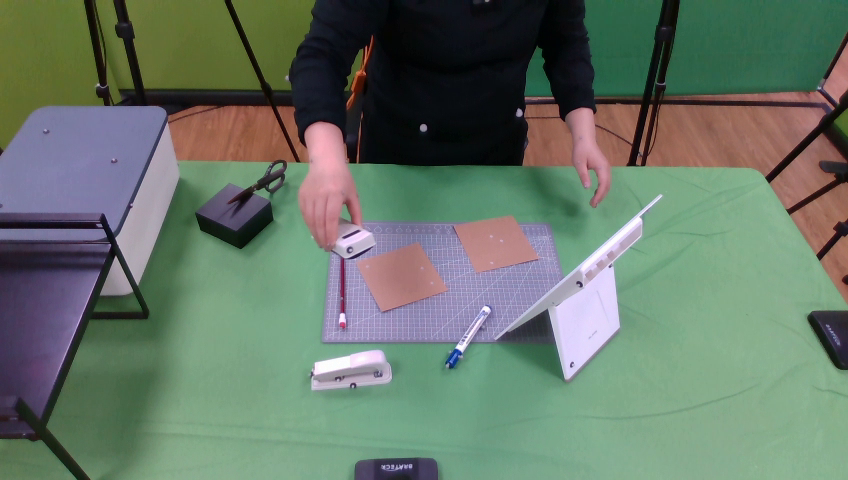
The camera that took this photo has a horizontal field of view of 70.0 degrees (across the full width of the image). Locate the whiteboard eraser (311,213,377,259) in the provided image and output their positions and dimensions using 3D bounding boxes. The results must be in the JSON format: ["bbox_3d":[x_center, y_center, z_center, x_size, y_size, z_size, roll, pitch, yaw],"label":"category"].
[{"bbox_3d":[-0.124,-0.005,0.928,0.055,0.042,0.112,-24,30,-31],"label":"whiteboard eraser"}]

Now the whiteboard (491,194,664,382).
[{"bbox_3d":[0.280,0.100,0.969,0.217,0.306,0.143,-33,77,-31],"label":"whiteboard"}]

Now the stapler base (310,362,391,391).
[{"bbox_3d":[-0.119,0.215,0.980,0.131,0.024,0.041,-5,44,-7],"label":"stapler base"}]

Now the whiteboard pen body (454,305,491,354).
[{"bbox_3d":[0.079,0.163,1.047,0.017,0.017,0.140,26,51,19],"label":"whiteboard pen body"}]

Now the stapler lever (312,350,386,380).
[{"bbox_3d":[-0.120,0.198,0.963,0.118,0.040,0.026,-4,44,-8],"label":"stapler lever"}]

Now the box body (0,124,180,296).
[{"bbox_3d":[-0.628,-0.075,1.122,0.254,0.161,0.361,1,46,-4],"label":"box body"}]

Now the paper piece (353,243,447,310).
[{"bbox_3d":[-0.046,0.066,1.137,0.136,0.009,0.137,-13,47,-23],"label":"paper piece"}]

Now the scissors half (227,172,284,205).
[{"bbox_3d":[-0.339,-0.101,1.230,0.013,0.040,0.175,21,28,17],"label":"scissors half"}]

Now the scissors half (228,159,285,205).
[{"bbox_3d":[-0.336,-0.117,1.217,0.013,0.040,0.175,25,46,13],"label":"scissors half"}]

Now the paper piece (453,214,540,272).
[{"bbox_3d":[0.142,0.002,1.212,0.135,0.004,0.135,-11,47,-14],"label":"paper piece"}]

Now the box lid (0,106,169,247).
[{"bbox_3d":[-0.624,-0.125,1.067,0.263,0.015,0.369,0,46,-3],"label":"box lid"}]

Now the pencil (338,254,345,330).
[{"bbox_3d":[-0.152,0.085,1.107,0.012,0.012,0.192,-2,44,-7],"label":"pencil"}]

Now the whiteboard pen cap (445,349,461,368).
[{"bbox_3d":[0.049,0.197,1.011,0.018,0.018,0.033,23,50,17],"label":"whiteboard pen cap"}]
